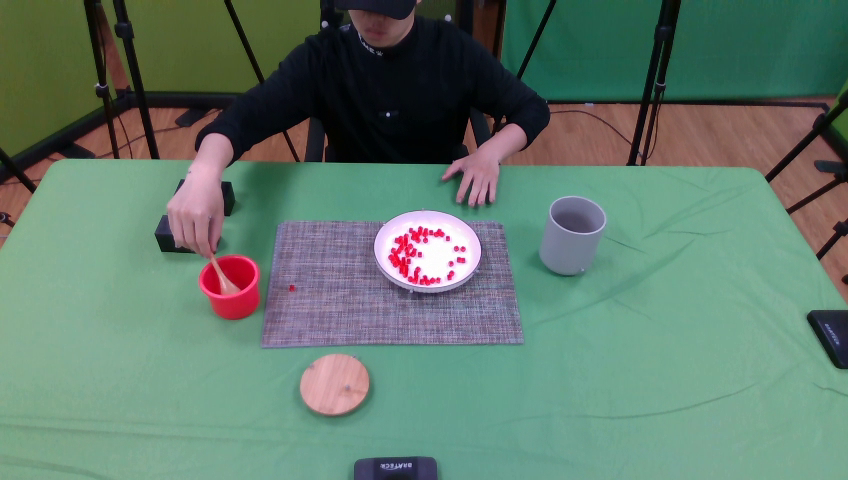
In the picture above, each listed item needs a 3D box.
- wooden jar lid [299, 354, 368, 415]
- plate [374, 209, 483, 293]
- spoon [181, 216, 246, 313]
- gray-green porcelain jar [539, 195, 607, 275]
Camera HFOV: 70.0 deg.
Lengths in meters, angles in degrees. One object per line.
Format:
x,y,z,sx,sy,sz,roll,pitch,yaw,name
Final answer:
-0.143,0.232,0.964,0.108,0.021,0.107,2,45,-2,wooden jar lid
0.008,0.024,1.158,0.208,0.039,0.206,2,46,-2,plate
-0.361,0.043,1.040,0.021,0.194,0.041,-32,12,7,spoon
0.278,-0.004,1.148,0.106,0.127,0.105,2,46,-2,gray-green porcelain jar
